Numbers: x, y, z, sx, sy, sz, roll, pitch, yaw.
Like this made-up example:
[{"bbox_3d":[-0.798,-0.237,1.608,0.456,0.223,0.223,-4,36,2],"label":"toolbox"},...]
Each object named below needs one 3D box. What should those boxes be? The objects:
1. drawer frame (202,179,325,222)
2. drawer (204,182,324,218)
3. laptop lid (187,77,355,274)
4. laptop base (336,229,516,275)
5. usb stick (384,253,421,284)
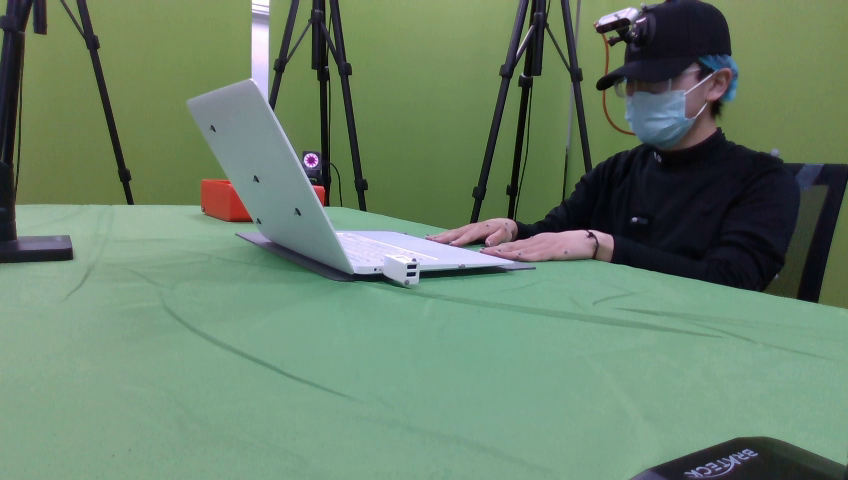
[{"bbox_3d":[-0.361,-0.092,1.356,0.215,0.082,0.200,-4,10,-37],"label":"drawer frame"},{"bbox_3d":[-0.360,-0.092,1.358,0.213,0.073,0.193,-3,10,-36],"label":"drawer"},{"bbox_3d":[-0.211,-0.082,0.772,0.013,0.242,0.355,-34,25,-23],"label":"laptop lid"},{"bbox_3d":[-0.066,0.014,0.877,0.237,0.023,0.352,2,7,-32],"label":"laptop base"},{"bbox_3d":[-0.028,0.030,0.675,0.021,0.027,0.059,-3,10,-33],"label":"usb stick"}]
